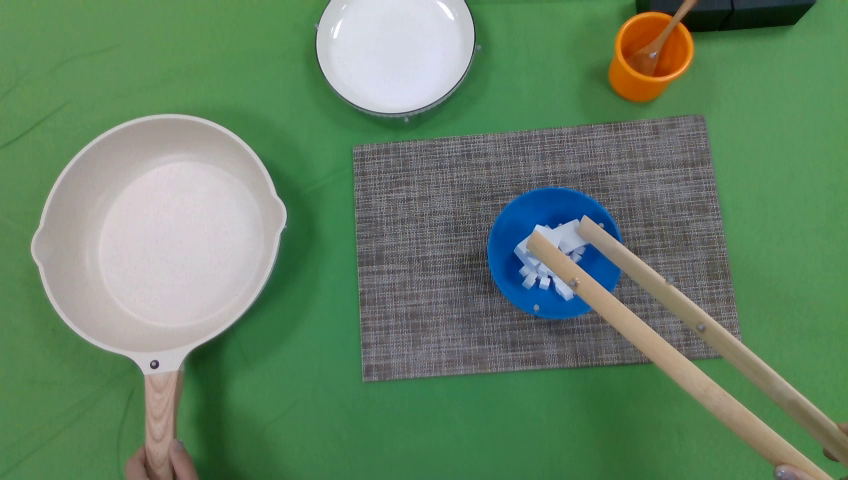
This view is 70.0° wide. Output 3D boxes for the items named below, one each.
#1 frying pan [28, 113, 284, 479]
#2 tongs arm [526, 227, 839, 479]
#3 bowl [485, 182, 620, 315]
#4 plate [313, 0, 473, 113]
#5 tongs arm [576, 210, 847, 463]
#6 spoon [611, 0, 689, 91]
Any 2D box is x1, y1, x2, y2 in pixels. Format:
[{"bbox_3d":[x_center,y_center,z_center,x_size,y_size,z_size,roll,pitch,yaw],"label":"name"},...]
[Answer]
[{"bbox_3d":[-0.304,0.090,0.706,0.307,0.103,0.484,-7,70,3],"label":"frying pan"},{"bbox_3d":[0.231,0.109,0.530,0.028,0.028,0.383,-17,49,-41],"label":"tongs arm"},{"bbox_3d":[0.145,0.015,0.705,0.151,0.077,0.150,-1,79,3],"label":"bowl"},{"bbox_3d":[-0.039,-0.260,0.794,0.207,0.039,0.206,-1,79,3],"label":"plate"},{"bbox_3d":[0.267,0.097,0.557,0.051,0.027,0.381,-17,49,-37],"label":"tongs arm"},{"bbox_3d":[0.291,-0.261,0.720,0.041,0.194,0.021,45,40,14],"label":"spoon"}]
